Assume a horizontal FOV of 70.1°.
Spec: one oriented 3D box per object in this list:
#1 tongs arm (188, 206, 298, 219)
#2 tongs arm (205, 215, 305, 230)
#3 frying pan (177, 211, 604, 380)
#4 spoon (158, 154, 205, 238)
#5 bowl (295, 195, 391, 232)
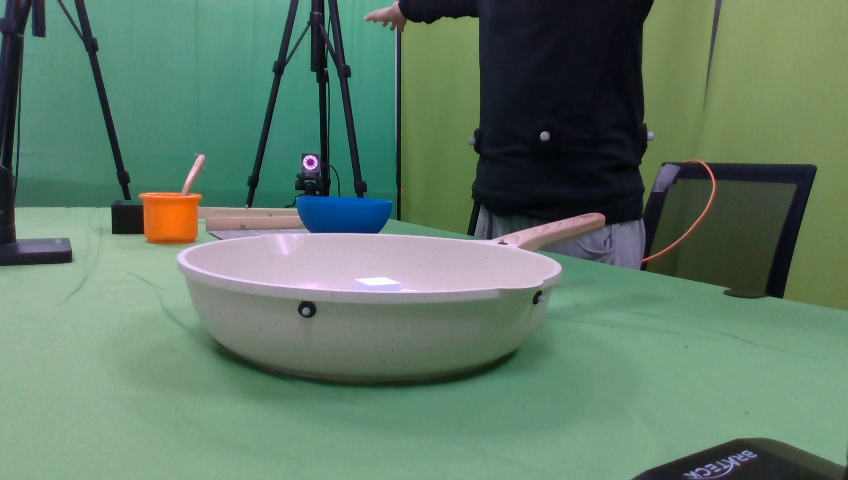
[{"bbox_3d":[-0.301,-0.055,1.307,0.387,0.026,0.050,-1,8,-29],"label":"tongs arm"},{"bbox_3d":[-0.257,-0.041,1.241,0.390,0.028,0.028,-4,7,-42],"label":"tongs arm"},{"bbox_3d":[0.034,0.019,0.556,0.490,0.102,0.305,-15,18,-42],"label":"frying pan"},{"bbox_3d":[-0.392,-0.076,0.998,0.041,0.193,0.021,1,-36,6],"label":"spoon"},{"bbox_3d":[-0.127,-0.027,0.946,0.151,0.077,0.151,2,7,0],"label":"bowl"}]
